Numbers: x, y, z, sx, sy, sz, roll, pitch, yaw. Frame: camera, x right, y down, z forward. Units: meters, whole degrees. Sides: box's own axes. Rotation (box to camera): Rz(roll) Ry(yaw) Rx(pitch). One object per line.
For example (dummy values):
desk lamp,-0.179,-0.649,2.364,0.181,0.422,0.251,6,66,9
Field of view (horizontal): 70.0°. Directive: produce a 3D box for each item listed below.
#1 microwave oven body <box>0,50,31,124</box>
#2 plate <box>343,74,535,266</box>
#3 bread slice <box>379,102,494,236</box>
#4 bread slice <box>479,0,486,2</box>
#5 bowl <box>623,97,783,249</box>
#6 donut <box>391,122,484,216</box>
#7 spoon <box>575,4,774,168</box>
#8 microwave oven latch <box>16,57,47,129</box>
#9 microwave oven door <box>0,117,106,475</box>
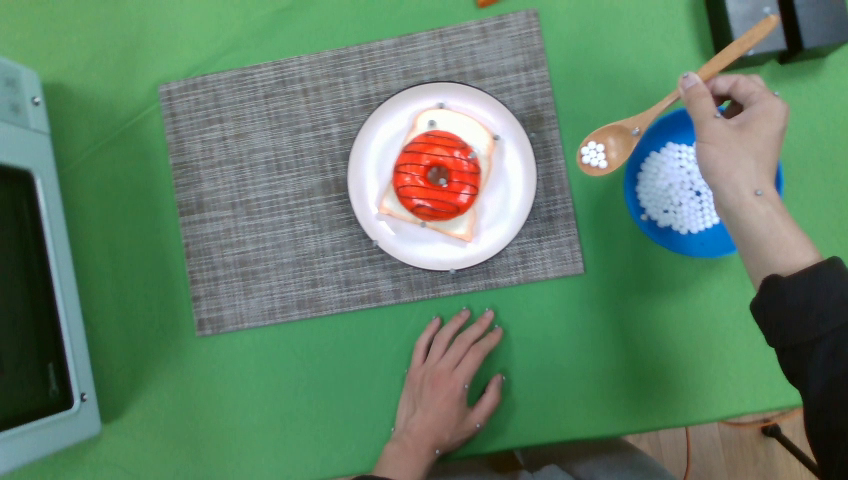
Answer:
microwave oven body,-0.579,0.033,0.606,0.326,0.260,0.441,-12,88,4
plate,0.016,-0.075,0.667,0.207,0.039,0.207,0,89,5
bread slice,0.018,-0.083,0.667,0.107,0.018,0.134,15,90,5
bread slice,0.085,-0.348,0.681,0.105,0.019,0.131,-24,88,3
bowl,0.276,-0.063,0.628,0.151,0.077,0.151,0,88,5
donut,0.014,-0.074,0.639,0.099,0.048,0.099,0,89,6
spoon,0.212,-0.129,0.526,0.194,0.022,0.041,-40,80,31
microwave oven latch,-0.460,-0.167,0.696,0.030,0.029,0.079,-11,88,4
microwave oven door,-0.428,0.044,0.588,0.039,0.244,0.355,-12,87,5
